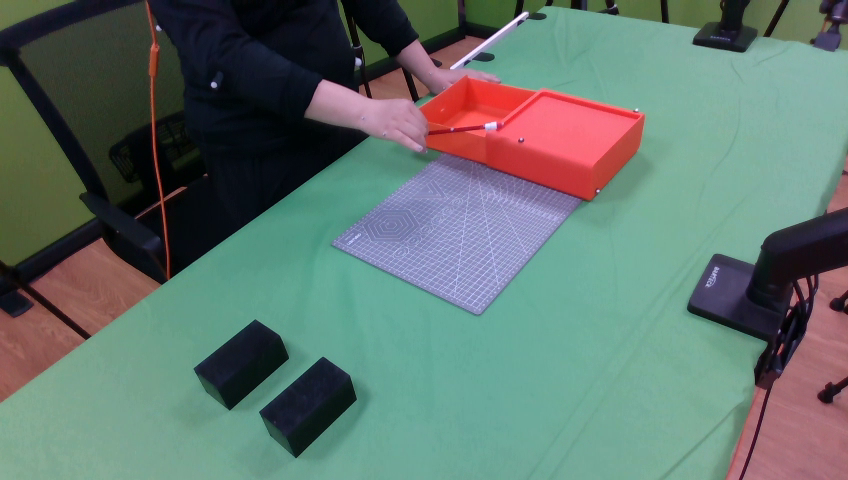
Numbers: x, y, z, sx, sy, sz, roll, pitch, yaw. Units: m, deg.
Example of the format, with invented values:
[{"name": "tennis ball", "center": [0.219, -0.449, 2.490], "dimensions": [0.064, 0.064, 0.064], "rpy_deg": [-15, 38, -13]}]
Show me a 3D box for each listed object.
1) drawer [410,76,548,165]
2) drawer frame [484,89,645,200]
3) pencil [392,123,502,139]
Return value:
[{"name": "drawer", "center": [0.113, -0.237, 1.190], "dimensions": [0.210, 0.073, 0.195], "rpy_deg": [22, 48, 33]}, {"name": "drawer frame", "center": [0.253, -0.180, 1.094], "dimensions": [0.212, 0.083, 0.202], "rpy_deg": [24, 48, 31]}, {"name": "pencil", "center": [0.038, -0.186, 1.041], "dimensions": [0.194, 0.012, 0.012], "rpy_deg": [-4, 40, 10]}]
